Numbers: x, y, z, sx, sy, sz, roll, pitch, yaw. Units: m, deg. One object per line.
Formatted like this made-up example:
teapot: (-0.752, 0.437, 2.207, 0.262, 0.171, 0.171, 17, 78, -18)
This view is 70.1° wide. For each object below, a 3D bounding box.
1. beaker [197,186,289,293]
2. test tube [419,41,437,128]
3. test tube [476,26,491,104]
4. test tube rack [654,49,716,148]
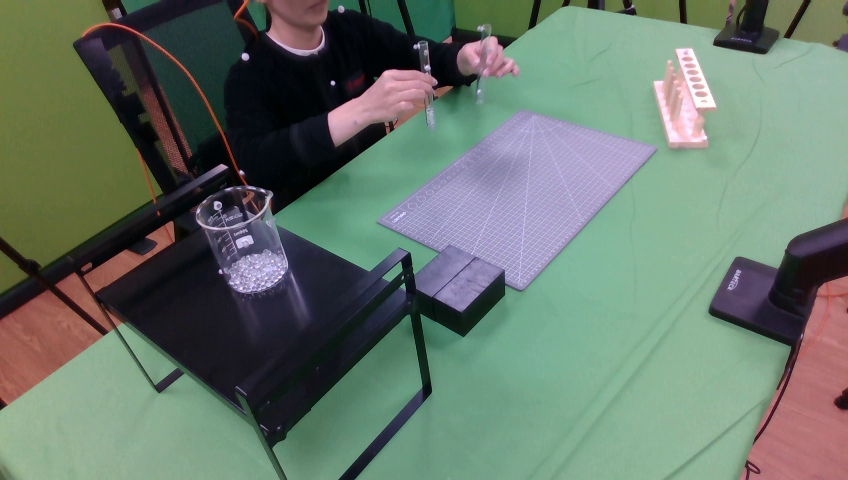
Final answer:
beaker: (-0.192, 0.001, 0.666, 0.084, 0.101, 0.073, -32, 47, -27)
test tube: (0.008, -0.250, 0.989, 0.017, 0.151, 0.017, -4, 41, 4)
test tube: (0.105, -0.306, 1.068, 0.017, 0.151, 0.017, 0, 47, 0)
test tube rack: (0.502, -0.281, 1.176, 0.066, 0.085, 0.241, 1, 41, 11)
